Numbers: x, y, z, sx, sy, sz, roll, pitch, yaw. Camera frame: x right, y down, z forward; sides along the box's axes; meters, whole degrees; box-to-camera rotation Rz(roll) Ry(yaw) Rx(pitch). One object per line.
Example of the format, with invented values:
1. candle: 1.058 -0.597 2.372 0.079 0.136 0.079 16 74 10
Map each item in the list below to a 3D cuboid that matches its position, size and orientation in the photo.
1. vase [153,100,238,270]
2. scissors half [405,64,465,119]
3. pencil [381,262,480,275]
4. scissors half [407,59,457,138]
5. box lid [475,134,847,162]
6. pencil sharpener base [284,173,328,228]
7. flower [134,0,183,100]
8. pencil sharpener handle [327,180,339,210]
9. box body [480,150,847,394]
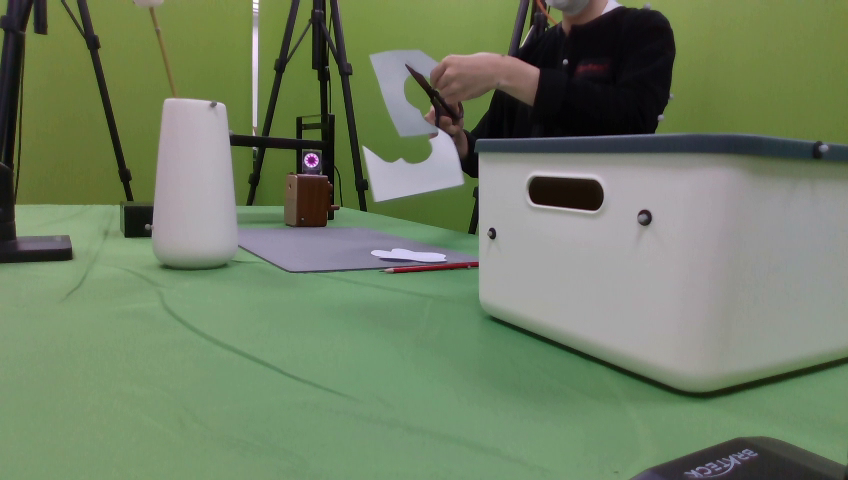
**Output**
1. vase: -0.278 -0.066 0.736 0.098 0.200 0.098 2 9 0
2. scissors half: 0.021 -0.265 1.072 0.013 0.040 0.176 2 -15 39
3. pencil: 0.030 0.036 0.795 0.195 0.012 0.012 -3 9 -30
4. scissors half: 0.012 -0.247 1.065 0.012 0.176 0.040 8 53 42
5. box lid: 0.256 -0.073 0.528 0.373 0.015 0.262 -2 8 -31
6. pencil sharpener base: -0.239 -0.081 1.231 0.077 0.107 0.061 -2 8 -36
7. flower: -0.282 -0.147 0.713 0.038 0.362 0.044 -23 24 -31
8. pencil sharpener handle: -0.194 -0.095 1.256 0.031 0.067 0.036 -2 -7 -36
9. box body: 0.254 0.002 0.539 0.366 0.160 0.253 -2 8 -31
